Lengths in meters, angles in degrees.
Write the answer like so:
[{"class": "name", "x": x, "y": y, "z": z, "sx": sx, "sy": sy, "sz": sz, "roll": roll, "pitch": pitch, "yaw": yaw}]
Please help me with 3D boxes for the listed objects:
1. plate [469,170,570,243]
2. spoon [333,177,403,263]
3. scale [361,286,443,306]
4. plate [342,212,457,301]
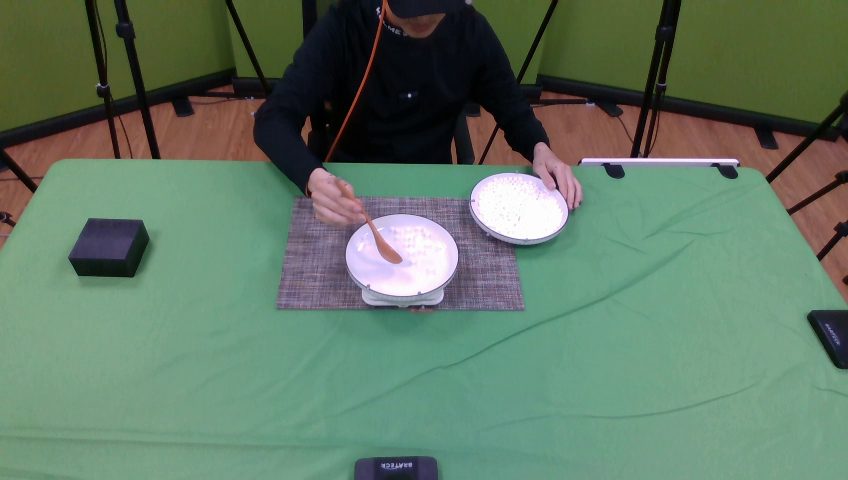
[{"class": "plate", "x": 0.196, "y": -0.066, "z": 1.258, "sx": 0.209, "sy": 0.038, "sz": 0.208, "roll": 3, "pitch": 46, "yaw": -3}, {"class": "spoon", "x": -0.099, "y": -0.032, "z": 1.056, "sx": 0.041, "sy": 0.194, "sz": 0.021, "roll": -13, "pitch": 26, "yaw": 48}, {"class": "scale", "x": -0.042, "y": 0.040, "z": 1.143, "sx": 0.149, "sy": 0.032, "sz": 0.199, "roll": 0, "pitch": 46, "yaw": -4}, {"class": "plate", "x": -0.044, "y": 0.033, "z": 1.105, "sx": 0.208, "sy": 0.039, "sz": 0.206, "roll": 2, "pitch": 46, "yaw": -2}]
